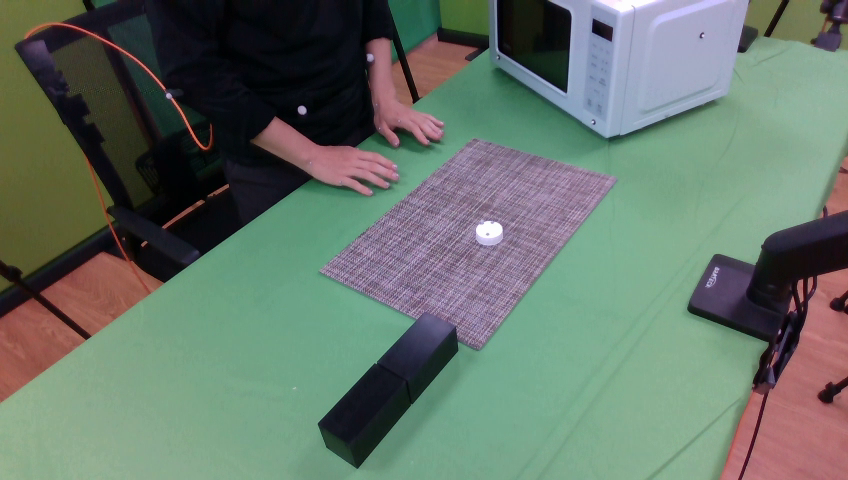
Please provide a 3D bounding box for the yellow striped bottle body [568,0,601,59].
[{"bbox_3d":[0.336,-0.448,1.268,0.063,0.121,0.062,-5,44,5],"label":"yellow striped bottle body"}]

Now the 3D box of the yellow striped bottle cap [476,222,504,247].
[{"bbox_3d":[0.105,-0.010,0.966,0.044,0.019,0.044,-4,39,3],"label":"yellow striped bottle cap"}]

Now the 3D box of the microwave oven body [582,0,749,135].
[{"bbox_3d":[0.382,-0.444,1.246,0.327,0.261,0.437,-22,42,-16],"label":"microwave oven body"}]

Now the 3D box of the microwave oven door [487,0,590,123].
[{"bbox_3d":[0.232,-0.420,1.230,0.039,0.245,0.352,-22,43,-16],"label":"microwave oven door"}]

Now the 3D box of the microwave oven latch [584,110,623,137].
[{"bbox_3d":[0.337,-0.222,1.142,0.030,0.029,0.078,-21,42,-15],"label":"microwave oven latch"}]
